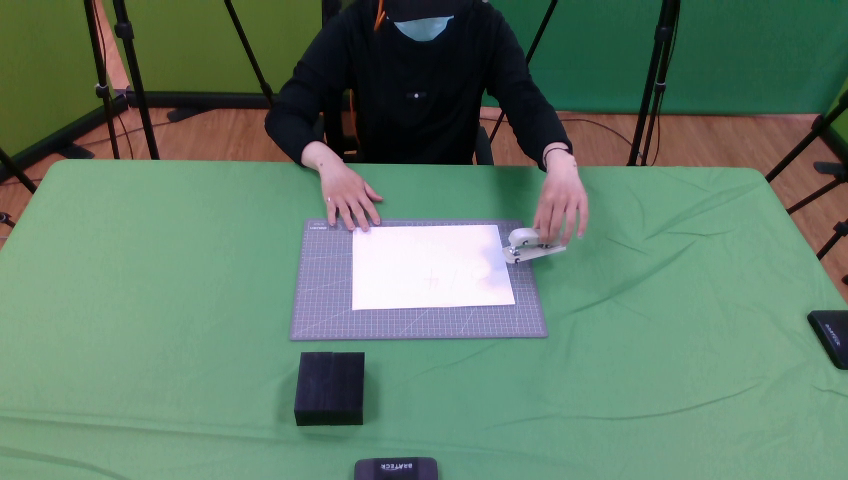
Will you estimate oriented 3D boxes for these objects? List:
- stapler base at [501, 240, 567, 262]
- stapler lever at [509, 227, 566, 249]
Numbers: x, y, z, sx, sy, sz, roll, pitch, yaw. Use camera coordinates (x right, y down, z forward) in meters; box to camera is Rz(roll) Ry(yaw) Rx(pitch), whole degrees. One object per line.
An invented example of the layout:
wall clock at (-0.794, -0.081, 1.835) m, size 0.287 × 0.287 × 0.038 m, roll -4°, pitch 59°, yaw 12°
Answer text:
stapler base at (0.210, 0.010, 1.150) m, size 0.131 × 0.024 × 0.041 m, roll -12°, pitch 48°, yaw -20°
stapler lever at (0.213, -0.010, 1.134) m, size 0.118 × 0.040 × 0.026 m, roll -12°, pitch 47°, yaw -20°
